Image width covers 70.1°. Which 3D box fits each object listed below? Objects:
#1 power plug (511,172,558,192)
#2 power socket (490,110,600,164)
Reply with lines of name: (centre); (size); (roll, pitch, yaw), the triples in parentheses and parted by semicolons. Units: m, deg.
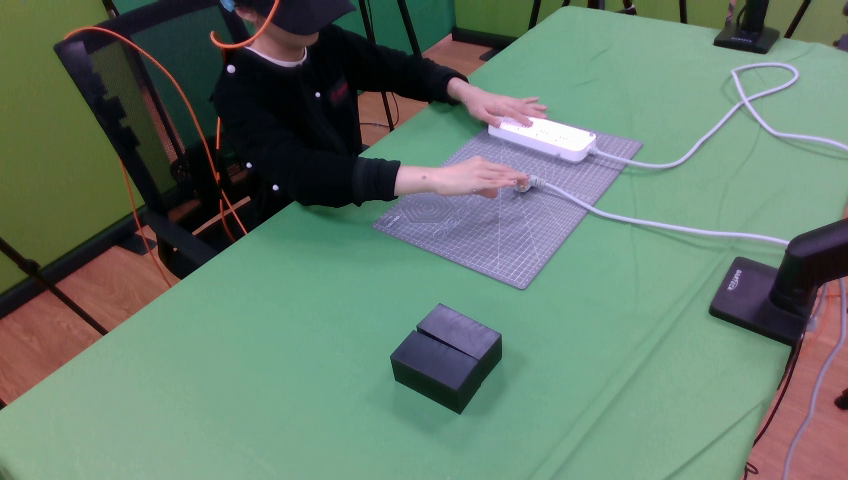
power plug: (0.187, -0.101, 1.044); (0.072, 0.035, 0.053); (1, 20, 42)
power socket: (0.226, -0.201, 1.167); (0.225, 0.033, 0.072); (26, 51, 33)
